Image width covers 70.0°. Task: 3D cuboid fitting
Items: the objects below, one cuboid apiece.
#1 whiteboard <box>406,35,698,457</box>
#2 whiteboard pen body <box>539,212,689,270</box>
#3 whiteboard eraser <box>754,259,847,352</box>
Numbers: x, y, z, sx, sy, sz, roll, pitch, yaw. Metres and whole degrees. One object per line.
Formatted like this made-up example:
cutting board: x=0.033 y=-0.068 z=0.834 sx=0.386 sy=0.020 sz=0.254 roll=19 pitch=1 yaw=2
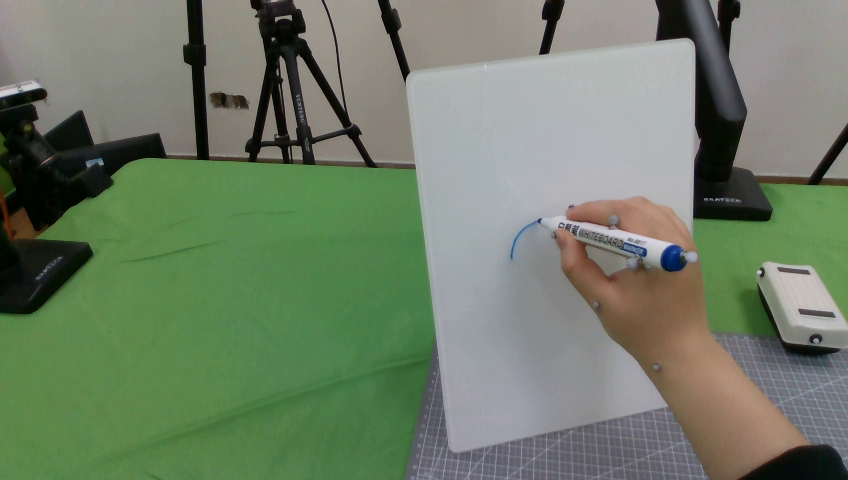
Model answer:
whiteboard: x=0.098 y=-0.004 z=0.528 sx=0.217 sy=0.307 sz=0.143 roll=-9 pitch=17 yaw=-8
whiteboard pen body: x=0.113 y=-0.004 z=0.389 sx=0.017 sy=0.017 sz=0.139 roll=-16 pitch=17 yaw=-18
whiteboard eraser: x=0.368 y=0.063 z=0.595 sx=0.055 sy=0.042 sz=0.112 roll=3 pitch=32 yaw=12
